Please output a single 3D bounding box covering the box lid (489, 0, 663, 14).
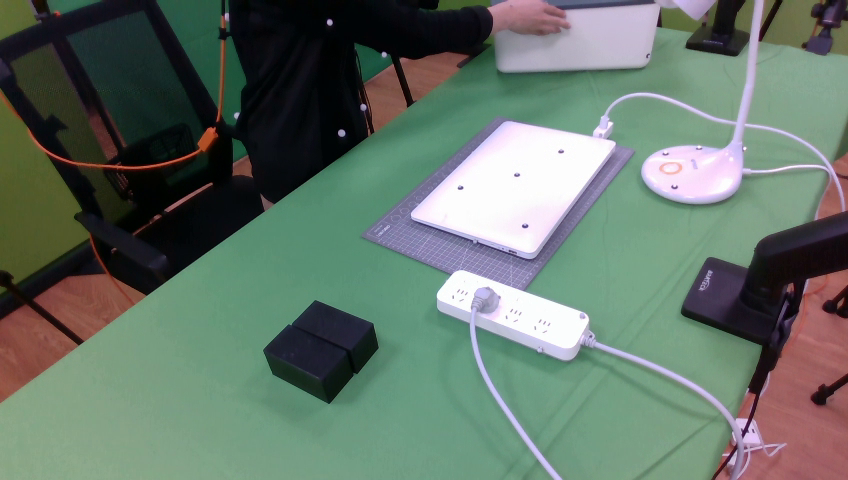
[{"bbox_3d":[0.340,-0.575,1.380,0.371,0.015,0.262,0,41,9],"label":"box lid"}]

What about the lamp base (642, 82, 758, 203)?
[{"bbox_3d":[0.464,-0.174,0.992,0.179,0.181,0.159,-5,41,-1],"label":"lamp base"}]

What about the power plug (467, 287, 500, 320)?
[{"bbox_3d":[0.073,0.092,0.814,0.035,0.053,0.073,29,54,34],"label":"power plug"}]

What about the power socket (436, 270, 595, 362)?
[{"bbox_3d":[0.118,0.101,0.832,0.225,0.033,0.072,19,48,27],"label":"power socket"}]

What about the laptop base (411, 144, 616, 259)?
[{"bbox_3d":[0.168,-0.101,1.073,0.234,0.023,0.355,17,46,30],"label":"laptop base"}]

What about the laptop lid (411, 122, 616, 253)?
[{"bbox_3d":[0.165,-0.111,1.067,0.240,0.013,0.357,19,46,31],"label":"laptop lid"}]

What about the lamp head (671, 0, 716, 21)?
[{"bbox_3d":[0.375,-0.373,0.807,0.122,0.113,0.112,-40,27,32],"label":"lamp head"}]

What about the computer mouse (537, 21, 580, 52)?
[{"bbox_3d":[0.335,-0.503,1.488,0.118,0.041,0.062,21,20,-28],"label":"computer mouse"}]

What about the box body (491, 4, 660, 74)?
[{"bbox_3d":[0.346,-0.520,1.429,0.363,0.161,0.253,0,41,9],"label":"box body"}]

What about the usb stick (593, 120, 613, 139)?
[{"bbox_3d":[0.336,-0.201,1.147,0.021,0.027,0.059,26,53,27],"label":"usb stick"}]
